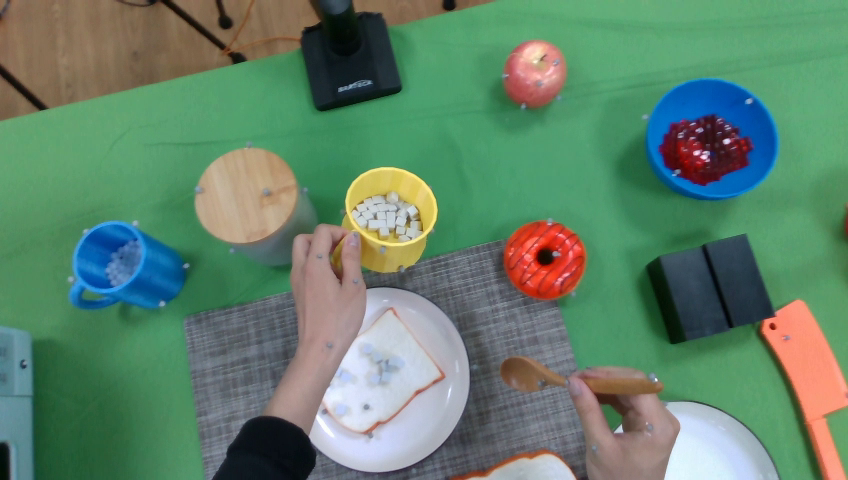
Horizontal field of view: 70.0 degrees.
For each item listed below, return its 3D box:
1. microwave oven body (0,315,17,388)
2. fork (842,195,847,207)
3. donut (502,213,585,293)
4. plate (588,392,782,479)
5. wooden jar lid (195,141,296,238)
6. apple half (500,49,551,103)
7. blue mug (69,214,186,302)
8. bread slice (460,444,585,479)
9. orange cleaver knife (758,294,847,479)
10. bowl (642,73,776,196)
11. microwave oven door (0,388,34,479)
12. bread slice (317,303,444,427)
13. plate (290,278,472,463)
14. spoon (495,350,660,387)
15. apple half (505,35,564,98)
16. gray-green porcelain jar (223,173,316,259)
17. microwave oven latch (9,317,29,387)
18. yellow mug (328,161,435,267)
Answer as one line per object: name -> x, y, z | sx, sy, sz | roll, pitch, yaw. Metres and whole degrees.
microwave oven body -> -0.601, 0.302, 0.572 | 0.326, 0.261, 0.439 | -10, 77, -1
fork -> 0.511, -0.035, 0.678 | 0.209, 0.018, 0.028 | 5, 72, -40
donut -> 0.143, 0.016, 0.727 | 0.099, 0.048, 0.098 | 0, 77, 2
plate -> 0.283, 0.275, 0.667 | 0.209, 0.038, 0.208 | -1, 76, 3
wooden jar lid -> -0.190, -0.052, 0.653 | 0.108, 0.021, 0.108 | -1, 74, 3
apple half -> 0.121, -0.197, 0.767 | 0.081, 0.081, 0.033 | 42, 76, 11
blue mug -> -0.356, 0.033, 0.712 | 0.116, 0.106, 0.082 | -38, 77, -7
bread slice -> 0.115, 0.282, 0.644 | 0.134, 0.018, 0.106 | -16, 72, -23
orange cleaver knife -> 0.451, 0.167, 0.697 | 0.077, 0.012, 0.210 | -12, 75, -7
bowl -> 0.334, -0.116, 0.738 | 0.151, 0.077, 0.150 | 0, 77, 2
microwave oven door -> -0.451, 0.316, 0.558 | 0.039, 0.245, 0.353 | -11, 76, -1
bread slice -> -0.057, 0.152, 0.706 | 0.131, 0.019, 0.104 | -39, 78, -8
plate -> -0.048, 0.149, 0.705 | 0.207, 0.039, 0.206 | 0, 76, 2
spoon -> 0.125, 0.117, 0.530 | 0.021, 0.193, 0.042 | -33, 100, -27
apple half -> 0.147, -0.225, 0.774 | 0.080, 0.075, 0.053 | 41, 76, 15
gray-green porcelain jar -> -0.187, -0.037, 0.713 | 0.106, 0.127, 0.105 | 0, 76, 2
microwave oven latch -> -0.483, 0.131, 0.709 | 0.030, 0.029, 0.078 | -8, 77, -1
yellow mug -> -0.054, -0.020, 0.661 | 0.099, 0.064, 0.131 | 45, 62, 11
